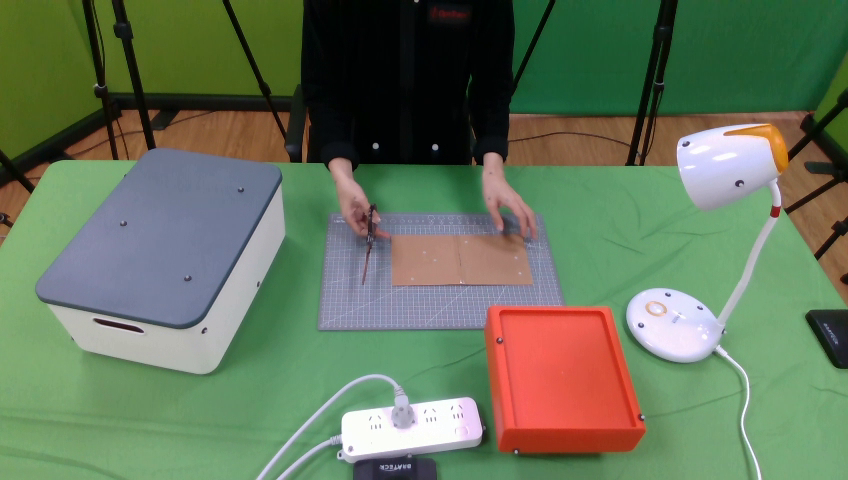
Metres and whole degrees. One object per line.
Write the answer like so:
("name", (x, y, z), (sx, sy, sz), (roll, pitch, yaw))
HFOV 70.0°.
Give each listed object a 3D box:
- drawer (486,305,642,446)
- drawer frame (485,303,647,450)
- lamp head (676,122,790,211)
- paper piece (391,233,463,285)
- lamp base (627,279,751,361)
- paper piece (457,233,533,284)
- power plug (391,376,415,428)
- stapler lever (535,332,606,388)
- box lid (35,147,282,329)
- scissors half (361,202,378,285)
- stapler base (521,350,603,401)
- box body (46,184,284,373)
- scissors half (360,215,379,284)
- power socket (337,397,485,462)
("drawer", (0.202, 0.200, 0.919), (0.195, 0.073, 0.210), (2, 47, -4))
("drawer frame", (0.204, 0.202, 0.917), (0.202, 0.083, 0.212), (1, 47, -4))
("lamp head", (0.423, -0.104, 0.819), (0.122, 0.113, 0.112), (-13, 33, 40))
("paper piece", (0.003, 0.035, 1.170), (0.135, 0.004, 0.135), (1, 46, -4))
("lamp base", (0.460, 0.100, 1.027), (0.178, 0.181, 0.160), (27, 51, 17))
("paper piece", (0.136, 0.035, 1.182), (0.136, 0.009, 0.137), (2, 45, -6))
("power plug", (-0.030, 0.249, 0.917), (0.035, 0.053, 0.072), (3, 46, -1))
("stapler lever", (0.225, 0.181, 0.929), (0.118, 0.040, 0.027), (27, 34, 15))
("box lid", (-0.411, -0.023, 0.987), (0.263, 0.015, 0.369), (10, 47, 5))
("scissors half", (-0.104, 0.004, 1.122), (0.013, 0.040, 0.174), (2, 62, 8))
("stapler base", (0.217, 0.203, 0.942), (0.130, 0.024, 0.041), (26, 33, 16))
("box body", (-0.414, 0.029, 1.040), (0.254, 0.161, 0.362), (10, 46, 5))
("scissors half", (-0.103, 0.016, 1.138), (0.013, 0.040, 0.174), (5, 44, 4))
("power socket", (-0.018, 0.285, 0.915), (0.227, 0.033, 0.071), (-4, 46, -8))
